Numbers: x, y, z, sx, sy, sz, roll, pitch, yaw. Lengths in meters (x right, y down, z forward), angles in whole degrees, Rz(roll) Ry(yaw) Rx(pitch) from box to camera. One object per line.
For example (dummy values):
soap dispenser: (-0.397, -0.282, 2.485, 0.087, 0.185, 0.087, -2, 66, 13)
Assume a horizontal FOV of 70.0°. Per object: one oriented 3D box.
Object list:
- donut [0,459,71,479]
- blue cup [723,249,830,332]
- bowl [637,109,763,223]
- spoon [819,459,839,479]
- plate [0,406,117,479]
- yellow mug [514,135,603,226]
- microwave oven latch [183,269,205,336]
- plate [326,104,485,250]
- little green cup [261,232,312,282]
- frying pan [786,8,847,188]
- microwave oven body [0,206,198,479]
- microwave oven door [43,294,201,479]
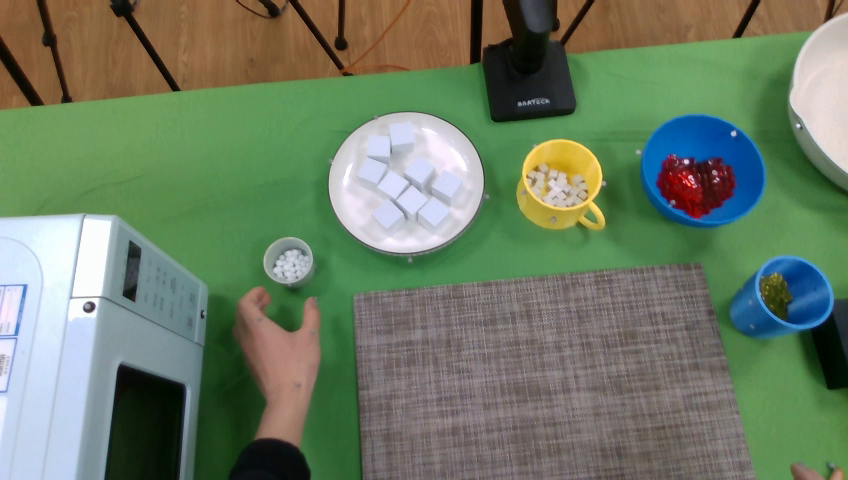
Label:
donut: (-0.404, 0.273, 0.612, 0.099, 0.048, 0.098, 1, 73, -2)
blue cup: (0.405, 0.068, 0.716, 0.092, 0.101, 0.092, 0, 69, 0)
bowl: (0.341, -0.083, 0.781, 0.151, 0.077, 0.150, 0, 72, 1)
spoon: (0.415, 0.323, 0.671, 0.041, 0.022, 0.193, 35, 75, 24)
plate: (-0.416, 0.280, 0.624, 0.209, 0.038, 0.208, 0, 72, 0)
yellow mug: (0.182, -0.067, 0.785, 0.100, 0.064, 0.130, -41, 76, -12)
microwave oven latch: (-0.285, 0.077, 0.737, 0.030, 0.029, 0.078, -1, 72, 0)
plate: (-0.024, -0.082, 0.807, 0.208, 0.039, 0.206, 0, 71, 1)
little green cup: (-0.172, 0.024, 0.771, 0.061, 0.039, 0.061, 0, 72, 1)
frying pan: (0.625, -0.085, 0.763, 0.307, 0.103, 0.483, -1, 63, 2)
microwave oven body: (-0.429, 0.217, 0.590, 0.326, 0.261, 0.438, -2, 72, 0)
microwave oven door: (-0.282, 0.250, 0.571, 0.039, 0.245, 0.353, -3, 71, 0)
